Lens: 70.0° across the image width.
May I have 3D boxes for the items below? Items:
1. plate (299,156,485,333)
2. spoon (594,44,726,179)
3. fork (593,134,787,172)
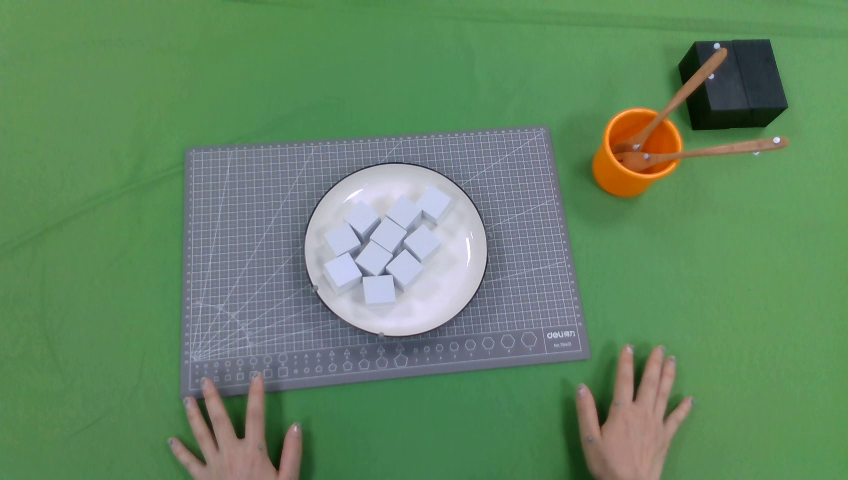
[{"bbox_3d":[-0.036,0.006,0.693,0.208,0.039,0.206,1,72,-3],"label":"plate"},{"bbox_3d":[0.272,-0.145,0.703,0.041,0.194,0.022,50,33,16],"label":"spoon"},{"bbox_3d":[0.291,-0.100,0.685,0.206,0.019,0.028,-3,86,41],"label":"fork"}]
